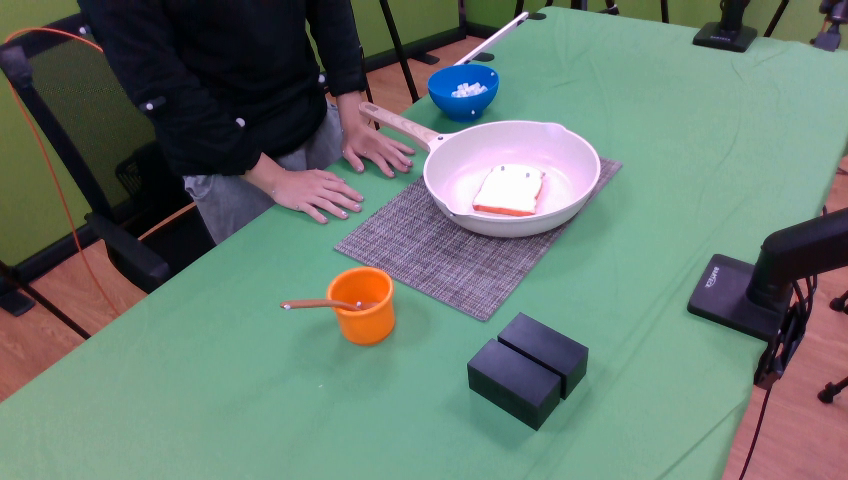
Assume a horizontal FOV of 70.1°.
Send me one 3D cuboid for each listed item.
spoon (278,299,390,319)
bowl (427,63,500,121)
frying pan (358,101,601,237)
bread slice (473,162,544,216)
[{"bbox_3d":[-0.113,0.086,0.787,0.041,0.021,0.195,30,8,36],"label":"spoon"},{"bbox_3d":[0.083,-0.301,1.263,0.151,0.077,0.150,-4,41,4],"label":"bowl"},{"bbox_3d":[0.067,-0.153,1.067,0.484,0.103,0.308,32,52,26],"label":"frying pan"},{"bbox_3d":[0.150,-0.088,1.041,0.106,0.018,0.134,7,45,16],"label":"bread slice"}]
